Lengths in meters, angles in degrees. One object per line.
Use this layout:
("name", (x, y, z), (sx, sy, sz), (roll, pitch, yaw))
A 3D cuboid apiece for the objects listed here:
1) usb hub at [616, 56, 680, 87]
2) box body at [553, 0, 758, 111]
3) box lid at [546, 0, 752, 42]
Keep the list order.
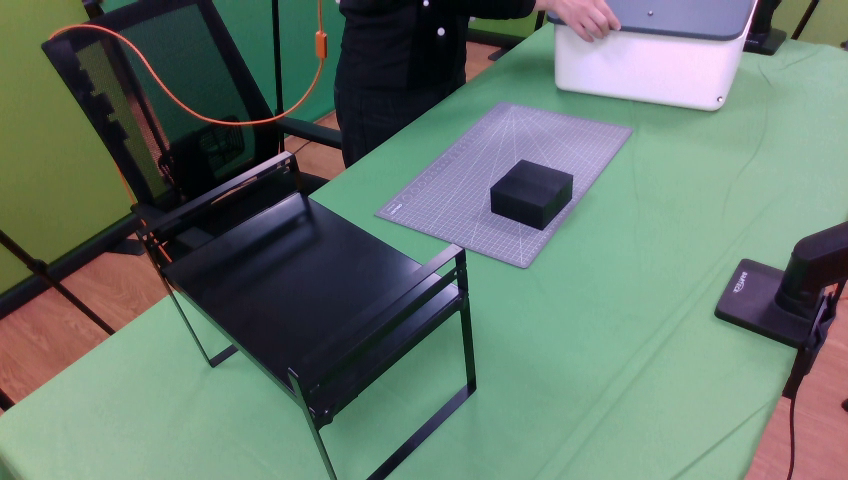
("usb hub", (0.484, -0.366, 1.309), (0.124, 0.025, 0.049), (24, 50, 25))
("box body", (0.480, -0.417, 1.282), (0.362, 0.161, 0.254), (16, 46, 25))
("box lid", (0.455, -0.485, 1.219), (0.369, 0.015, 0.263), (16, 51, 23))
